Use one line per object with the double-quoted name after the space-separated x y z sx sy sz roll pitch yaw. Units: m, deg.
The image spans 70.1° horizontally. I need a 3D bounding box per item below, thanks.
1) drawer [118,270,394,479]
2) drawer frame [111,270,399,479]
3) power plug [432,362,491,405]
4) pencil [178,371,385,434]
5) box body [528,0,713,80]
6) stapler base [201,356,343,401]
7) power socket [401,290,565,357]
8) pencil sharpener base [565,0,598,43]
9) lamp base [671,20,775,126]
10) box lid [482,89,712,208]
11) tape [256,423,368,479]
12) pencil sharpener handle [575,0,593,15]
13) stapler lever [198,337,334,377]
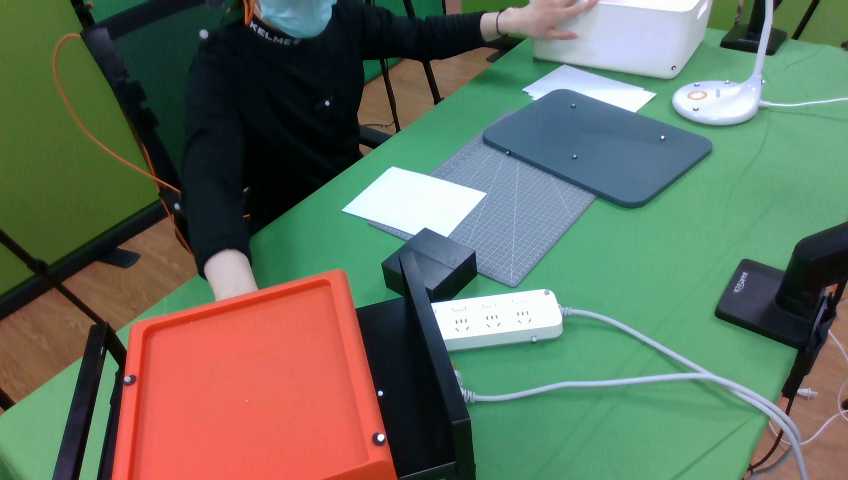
-0.141 0.139 0.509 0.195 0.073 0.210 -14 41 -8 "drawer"
-0.140 0.140 0.506 0.202 0.083 0.212 -15 41 -9 "drawer frame"
0.044 0.182 0.759 0.073 0.035 0.052 23 42 -19 "power plug"
-0.128 0.141 0.534 0.194 0.012 0.012 14 44 7 "pencil"
0.451 -0.513 1.398 0.361 0.161 0.254 19 48 28 "box body"
-0.142 0.124 0.557 0.130 0.024 0.041 -2 43 3 "stapler base"
0.080 0.113 0.821 0.227 0.033 0.072 -6 41 0 "power socket"
0.387 -0.551 1.484 0.061 0.107 0.077 13 44 23 "pencil sharpener base"
0.582 -0.332 1.153 0.179 0.181 0.160 2 41 7 "lamp base"
0.320 -0.190 1.156 0.264 0.015 0.368 -33 47 -28 "box lid"
-0.121 0.262 0.660 0.117 0.053 0.116 -4 40 4 "tape"
0.401 -0.595 1.512 0.036 0.067 0.030 35 49 1 "pencil sharpener handle"
-0.142 0.105 0.541 0.118 0.040 0.026 -3 43 4 "stapler lever"
